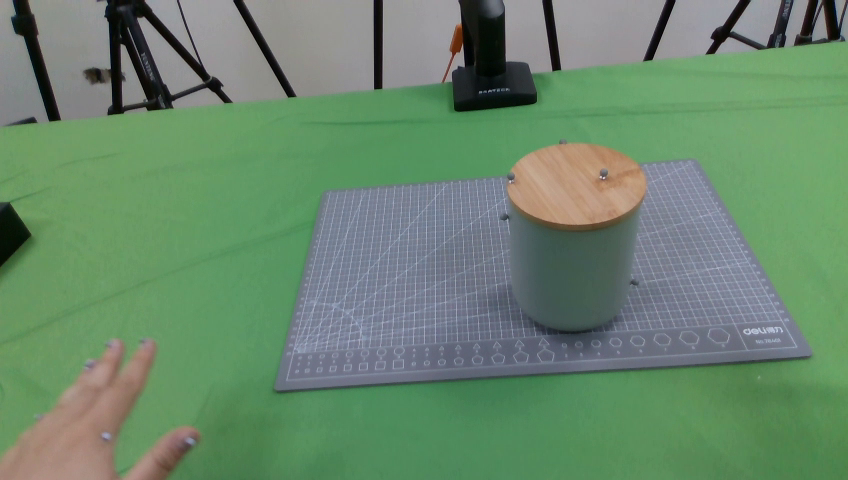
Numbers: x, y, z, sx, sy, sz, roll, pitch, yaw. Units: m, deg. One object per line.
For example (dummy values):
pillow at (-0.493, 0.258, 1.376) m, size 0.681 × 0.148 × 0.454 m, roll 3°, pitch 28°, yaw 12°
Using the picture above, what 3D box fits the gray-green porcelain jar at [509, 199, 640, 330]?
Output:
gray-green porcelain jar at (0.128, 0.007, 0.527) m, size 0.106 × 0.128 × 0.105 m, roll -5°, pitch 40°, yaw 5°

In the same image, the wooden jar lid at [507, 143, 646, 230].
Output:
wooden jar lid at (0.121, -0.041, 0.487) m, size 0.108 × 0.021 × 0.107 m, roll -6°, pitch 41°, yaw 5°
